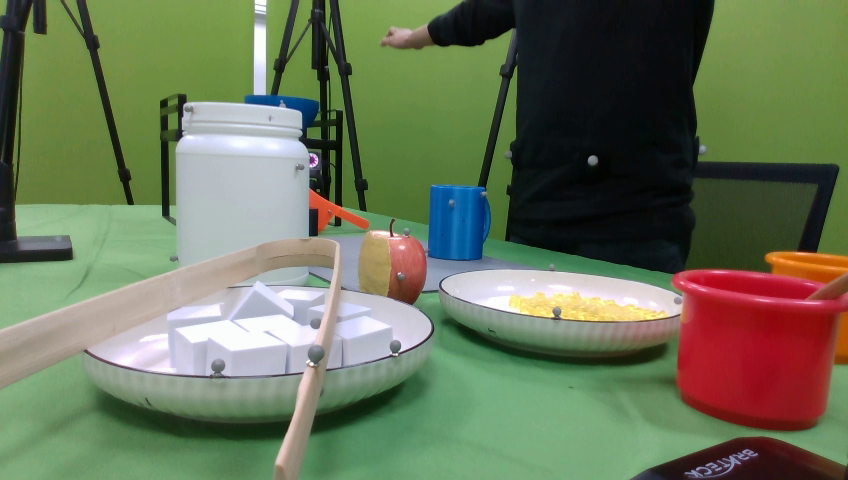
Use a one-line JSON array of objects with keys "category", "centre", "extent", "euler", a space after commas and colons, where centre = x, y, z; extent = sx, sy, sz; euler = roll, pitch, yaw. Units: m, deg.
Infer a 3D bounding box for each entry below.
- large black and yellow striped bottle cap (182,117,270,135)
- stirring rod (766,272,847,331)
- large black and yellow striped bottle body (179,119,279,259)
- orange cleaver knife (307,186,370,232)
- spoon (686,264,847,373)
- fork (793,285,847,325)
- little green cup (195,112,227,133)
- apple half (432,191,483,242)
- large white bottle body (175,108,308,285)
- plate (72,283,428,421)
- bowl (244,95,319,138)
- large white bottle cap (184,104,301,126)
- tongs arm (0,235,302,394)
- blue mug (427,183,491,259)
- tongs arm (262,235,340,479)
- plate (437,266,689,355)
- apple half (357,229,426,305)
[{"category": "large black and yellow striped bottle cap", "centre": [-0.272, -0.156, 0.833], "extent": [0.115, 0.019, 0.115], "euler": [1, 7, 0]}, {"category": "stirring rod", "centre": [0.352, 0.021, 0.481], "extent": [0.176, 0.006, 0.014], "euler": [-40, -9, 17]}, {"category": "large black and yellow striped bottle body", "centre": [-0.271, -0.074, 0.846], "extent": [0.131, 0.184, 0.130], "euler": [0, 9, 0]}, {"category": "orange cleaver knife", "centre": [-0.197, -0.056, 1.141], "extent": [0.212, 0.077, 0.012], "euler": [29, 0, -34]}, {"category": "spoon", "centre": [0.214, 0.032, 0.328], "extent": [0.042, 0.021, 0.193], "euler": [-3, -35, -26]}, {"category": "fork", "centre": [0.332, 0.019, 0.443], "extent": [0.028, 0.018, 0.207], "euler": [-3, -35, -16]}, {"category": "little green cup", "centre": [-0.412, -0.228, 1.171], "extent": [0.061, 0.038, 0.061], "euler": [3, 8, 0]}, {"category": "apple half", "centre": [0.049, -0.037, 0.904], "extent": [0.081, 0.081, 0.033], "euler": [3, 14, 3]}, {"category": "large white bottle body", "centre": [-0.188, -0.042, 0.630], "extent": [0.131, 0.184, 0.130], "euler": [2, 8, 0]}, {"category": "plate", "centre": [-0.102, 0.066, 0.381], "extent": [0.208, 0.039, 0.207], "euler": [2, 7, 0]}, {"category": "bowl", "centre": [-0.293, -0.251, 1.249], "extent": [0.151, 0.077, 0.151], "euler": [2, 8, 0]}, {"category": "large white bottle cap", "centre": [-0.184, -0.126, 0.618], "extent": [0.115, 0.018, 0.115], "euler": [2, 8, 0]}, {"category": "tongs arm", "centre": [-0.157, 0.038, 0.351], "extent": [0.028, 0.028, 0.388], "euler": [-3, 8, 12]}, {"category": "blue mug", "centre": [0.060, -0.031, 0.905], "extent": [0.117, 0.106, 0.082], "euler": [-4, 10, -42]}, {"category": "tongs arm", "centre": [-0.074, 0.039, 0.349], "extent": [0.051, 0.026, 0.384], "euler": [-2, 10, -3]}, {"category": "plate", "centre": [0.114, 0.057, 0.517], "extent": [0.209, 0.038, 0.209], "euler": [3, 7, 0]}, {"category": "apple half", "centre": [-0.026, 0.028, 0.570], "extent": [0.053, 0.074, 0.080], "euler": [3, 2, -28]}]
